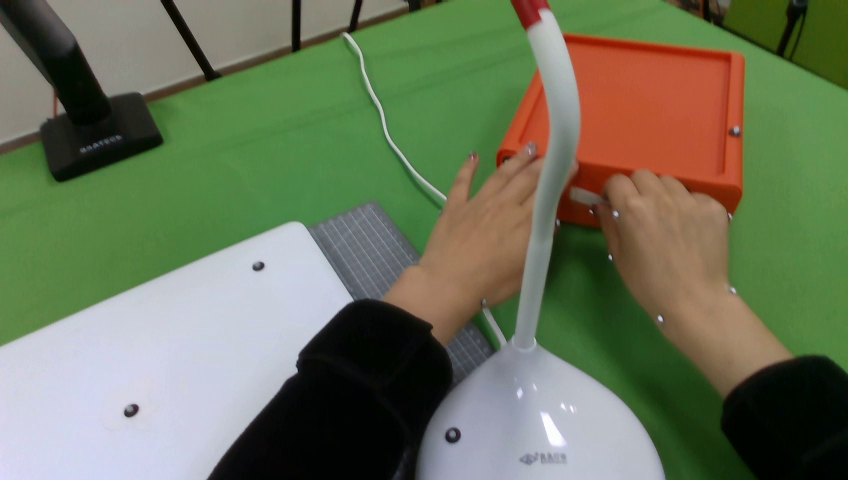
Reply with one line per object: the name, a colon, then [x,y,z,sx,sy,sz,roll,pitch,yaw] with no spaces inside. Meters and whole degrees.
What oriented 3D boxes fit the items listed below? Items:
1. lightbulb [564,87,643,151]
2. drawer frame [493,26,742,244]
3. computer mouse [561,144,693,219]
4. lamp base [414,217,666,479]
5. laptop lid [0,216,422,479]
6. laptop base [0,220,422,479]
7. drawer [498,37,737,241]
lightbulb: [0.181,-0.115,0.602,0.059,0.060,0.106,-17,32,-9]
drawer frame: [0.190,-0.113,0.586,0.201,0.083,0.212,11,49,16]
computer mouse: [0.185,-0.055,0.553,0.117,0.041,0.062,9,48,8]
lamp base: [0.067,0.089,0.345,0.161,0.182,0.177,-11,45,-6]
laptop lid: [-0.207,0.122,0.437,0.357,0.013,0.239,-25,53,-17]
laptop base: [-0.207,0.128,0.447,0.354,0.023,0.233,-26,54,-18]
drawer: [0.191,-0.109,0.585,0.194,0.074,0.210,11,49,17]
